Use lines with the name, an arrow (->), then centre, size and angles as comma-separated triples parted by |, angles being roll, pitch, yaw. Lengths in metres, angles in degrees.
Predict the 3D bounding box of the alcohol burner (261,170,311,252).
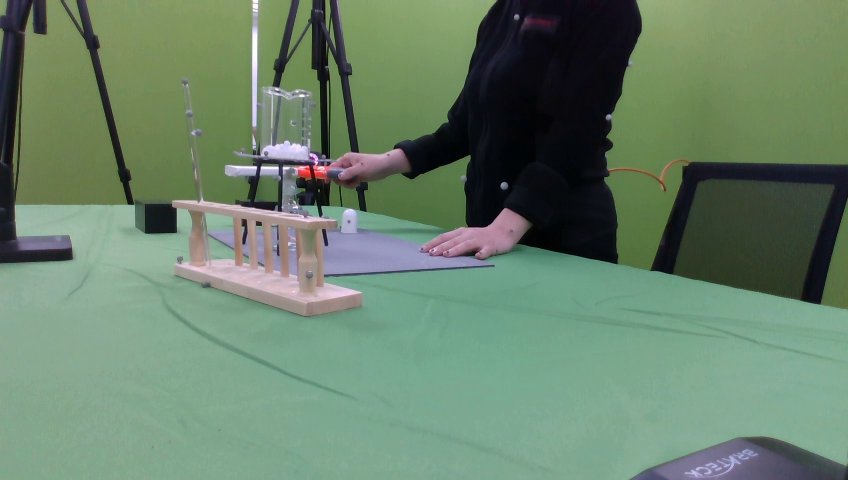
alcohol burner -> -0.200, -0.043, 0.891 | 0.078, 0.119, 0.078 | 1, 6, 0

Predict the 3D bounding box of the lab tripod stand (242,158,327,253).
lab tripod stand -> -0.207, -0.054, 0.895 | 0.148, 0.131, 0.148 | 2, 5, 0

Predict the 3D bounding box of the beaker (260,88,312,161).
beaker -> -0.200, -0.166, 0.876 | 0.074, 0.100, 0.083 | 1, 7, -18

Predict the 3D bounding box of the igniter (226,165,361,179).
igniter -> -0.240, -0.130, 1.155 | 0.278, 0.025, 0.057 | -5, 14, -43

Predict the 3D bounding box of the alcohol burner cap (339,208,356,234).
alcohol burner cap -> -0.142, -0.036, 1.136 | 0.034, 0.048, 0.034 | 4, 6, 0

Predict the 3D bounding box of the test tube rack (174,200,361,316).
test tube rack -> -0.169, 0.009, 0.622 | 0.241, 0.085, 0.067 | 9, 9, 41

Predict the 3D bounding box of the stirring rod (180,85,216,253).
stirring rod -> -0.237, -0.073, 0.634 | 0.006, 0.176, 0.014 | 1, 10, 43

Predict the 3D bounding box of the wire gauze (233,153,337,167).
wire gauze -> -0.205, -0.119, 0.887 | 0.122, 0.011, 0.124 | 2, 4, -32
